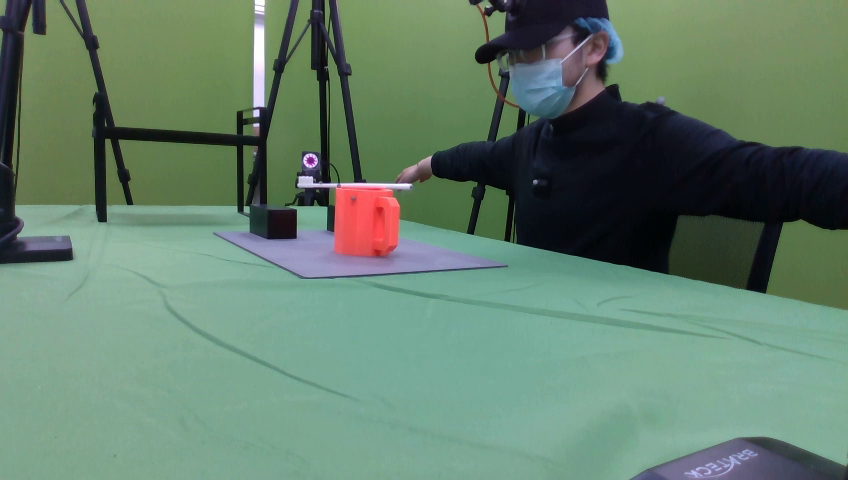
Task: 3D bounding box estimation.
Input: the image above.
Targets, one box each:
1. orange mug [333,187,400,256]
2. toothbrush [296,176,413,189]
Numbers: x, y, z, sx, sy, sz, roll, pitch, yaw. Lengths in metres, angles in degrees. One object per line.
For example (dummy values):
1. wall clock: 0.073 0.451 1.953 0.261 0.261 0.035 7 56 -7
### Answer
1. orange mug: -0.080 -0.029 0.888 0.084 0.100 0.125 -3 5 -40
2. toothbrush: -0.101 -0.085 0.911 0.183 0.016 0.014 -1 5 -25
